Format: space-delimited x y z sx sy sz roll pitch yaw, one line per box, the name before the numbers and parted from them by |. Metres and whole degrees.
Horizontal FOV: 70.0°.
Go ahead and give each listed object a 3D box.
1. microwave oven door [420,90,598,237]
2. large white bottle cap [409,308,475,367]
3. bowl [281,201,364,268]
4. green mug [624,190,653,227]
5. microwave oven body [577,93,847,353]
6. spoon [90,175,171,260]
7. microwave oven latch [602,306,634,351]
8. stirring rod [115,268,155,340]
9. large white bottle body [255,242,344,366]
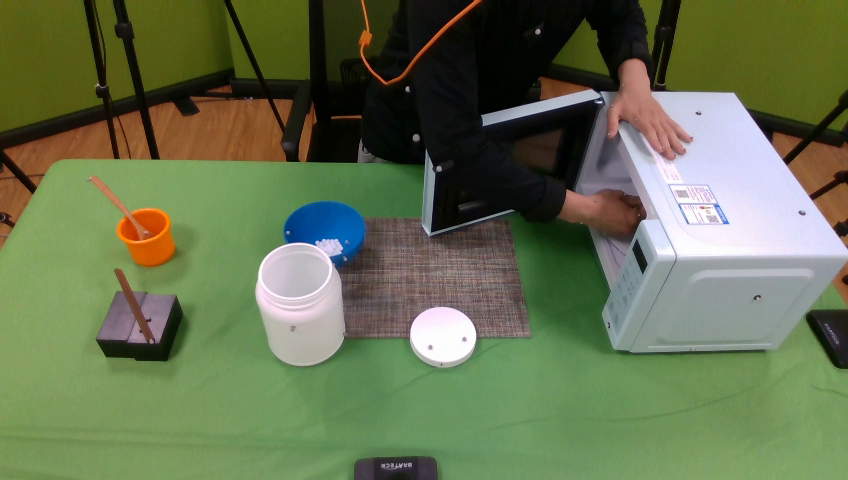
microwave oven door | 0.165 -0.149 1.184 0.356 0.245 0.039 -17 49 -19
large white bottle cap | 0.031 0.166 1.041 0.115 0.018 0.114 2 46 -2
bowl | -0.187 0.005 1.137 0.151 0.077 0.150 3 46 -3
green mug | 0.436 -0.058 1.148 0.125 0.105 0.092 -20 54 -13
microwave oven body | 0.475 -0.041 1.109 0.326 0.261 0.438 -1 45 -4
spoon | -0.538 -0.042 1.111 0.041 0.194 0.021 -46 19 -32
microwave oven latch | 0.332 0.153 1.044 0.030 0.029 0.078 0 45 -4
stirring rod | -0.478 0.103 0.999 0.014 0.006 0.175 7 32 -49
large white bottle body | -0.196 0.102 0.967 0.131 0.185 0.130 2 49 -2
